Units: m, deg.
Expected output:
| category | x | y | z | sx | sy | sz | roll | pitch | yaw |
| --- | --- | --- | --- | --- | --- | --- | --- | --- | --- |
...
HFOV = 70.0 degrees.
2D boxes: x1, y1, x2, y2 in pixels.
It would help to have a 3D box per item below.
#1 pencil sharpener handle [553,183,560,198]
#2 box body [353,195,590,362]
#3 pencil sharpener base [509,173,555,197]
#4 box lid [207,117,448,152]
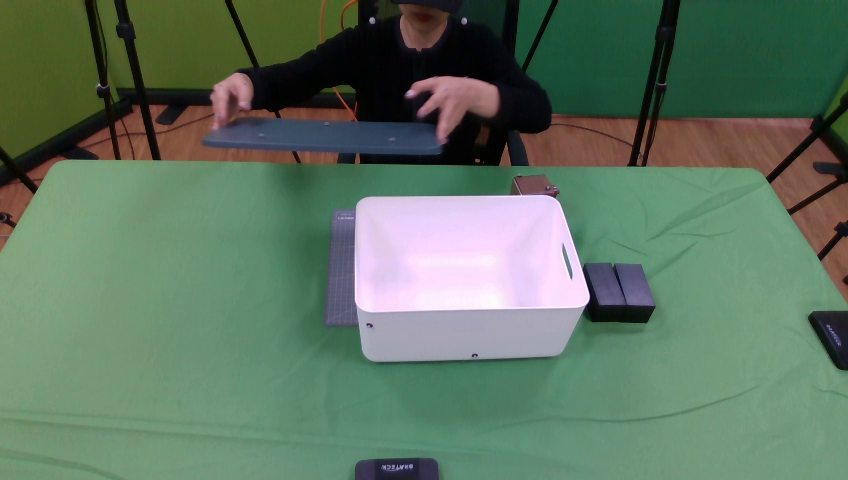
| category | x | y | z | sx | sy | sz | roll | pitch | yaw |
| --- | --- | --- | --- | --- | --- | --- | --- | --- | --- |
| pencil sharpener handle | 0.267 | -0.089 | 1.224 | 0.031 | 0.068 | 0.035 | -6 | 44 | -10 |
| box body | 0.065 | 0.066 | 1.040 | 0.364 | 0.161 | 0.252 | -1 | 46 | -5 |
| pencil sharpener base | 0.216 | -0.075 | 1.224 | 0.077 | 0.107 | 0.061 | -6 | 46 | -10 |
| box lid | -0.147 | -0.179 | 1.023 | 0.372 | 0.015 | 0.262 | 1 | 19 | -3 |
